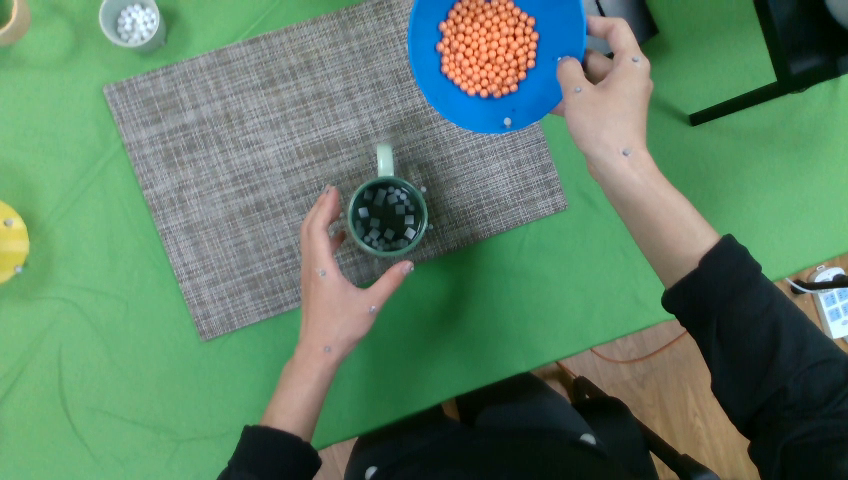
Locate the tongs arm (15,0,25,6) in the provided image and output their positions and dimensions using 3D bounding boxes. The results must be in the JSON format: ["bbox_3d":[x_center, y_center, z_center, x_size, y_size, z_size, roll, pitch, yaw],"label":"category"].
[{"bbox_3d":[-0.574,-0.322,0.584,0.388,0.028,0.028,23,83,-4],"label":"tongs arm"}]

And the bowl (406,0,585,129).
[{"bbox_3d":[0.054,-0.178,0.526,0.152,0.076,0.152,-3,111,-9],"label":"bowl"}]

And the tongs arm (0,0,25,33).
[{"bbox_3d":[-0.594,-0.242,0.583,0.385,0.026,0.050,9,88,-4],"label":"tongs arm"}]

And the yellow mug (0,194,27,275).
[{"bbox_3d":[-0.483,0.010,0.624,0.100,0.064,0.131,13,92,-7],"label":"yellow mug"}]

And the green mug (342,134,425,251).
[{"bbox_3d":[-0.043,-0.049,0.645,0.092,0.105,0.125,-3,91,-6],"label":"green mug"}]

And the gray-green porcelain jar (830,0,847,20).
[{"bbox_3d":[0.414,-0.241,0.500,0.106,0.126,0.106,0,91,-6],"label":"gray-green porcelain jar"}]

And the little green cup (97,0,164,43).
[{"bbox_3d":[-0.310,-0.242,0.646,0.061,0.038,0.061,0,93,-7],"label":"little green cup"}]
